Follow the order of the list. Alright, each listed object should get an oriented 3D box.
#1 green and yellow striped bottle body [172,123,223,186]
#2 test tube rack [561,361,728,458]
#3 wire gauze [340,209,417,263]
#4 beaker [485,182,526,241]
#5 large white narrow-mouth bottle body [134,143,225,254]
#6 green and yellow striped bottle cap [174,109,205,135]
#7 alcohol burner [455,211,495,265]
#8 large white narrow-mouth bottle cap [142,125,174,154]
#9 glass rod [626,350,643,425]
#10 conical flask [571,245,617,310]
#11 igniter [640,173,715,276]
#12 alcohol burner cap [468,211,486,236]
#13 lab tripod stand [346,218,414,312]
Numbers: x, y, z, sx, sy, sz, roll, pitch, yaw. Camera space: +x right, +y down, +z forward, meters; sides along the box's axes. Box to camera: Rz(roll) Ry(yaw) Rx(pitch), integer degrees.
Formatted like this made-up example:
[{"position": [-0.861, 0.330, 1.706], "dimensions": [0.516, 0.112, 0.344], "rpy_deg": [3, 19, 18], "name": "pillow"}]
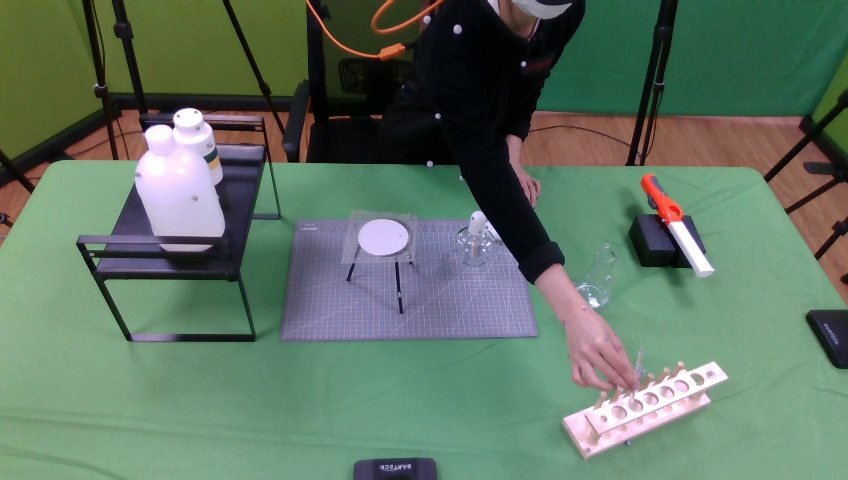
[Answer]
[{"position": [-0.373, -0.148, 0.994], "dimensions": [0.063, 0.120, 0.063], "rpy_deg": [2, 46, -2], "name": "green and yellow striped bottle body"}, {"position": [0.341, 0.248, 0.940], "dimensions": [0.243, 0.085, 0.066], "rpy_deg": [-15, 49, -18], "name": "test tube rack"}, {"position": [-0.074, -0.006, 1.023], "dimensions": [0.121, 0.011, 0.124], "rpy_deg": [3, 46, 0], "name": "wire gauze"}, {"position": [0.159, -0.055, 1.205], "dimensions": [0.074, 0.101, 0.084], "rpy_deg": [23, 49, 17], "name": "beaker"}, {"position": [-0.357, -0.075, 0.875], "dimensions": [0.102, 0.195, 0.101], "rpy_deg": [2, 47, -1], "name": "large white narrow-mouth bottle body"}, {"position": [-0.369, -0.186, 0.954], "dimensions": [0.045, 0.020, 0.045], "rpy_deg": [3, 49, -3], "name": "green and yellow striped bottle cap"}, {"position": [0.097, -0.010, 1.147], "dimensions": [0.078, 0.120, 0.077], "rpy_deg": [1, 47, 0], "name": "alcohol burner"}, {"position": [-0.355, -0.134, 0.810], "dimensions": [0.038, 0.024, 0.037], "rpy_deg": [2, 47, -2], "name": "large white narrow-mouth bottle cap"}, {"position": [0.295, 0.212, 0.851], "dimensions": [0.008, 0.201, 0.008], "rpy_deg": [-6, 46, 7], "name": "glass rod"}, {"position": [0.313, 0.064, 1.089], "dimensions": [0.075, 0.122, 0.075], "rpy_deg": [2, 46, -2], "name": "conical flask"}, {"position": [0.495, -0.039, 1.204], "dimensions": [0.057, 0.025, 0.274], "rpy_deg": [-2, 47, -12], "name": "igniter"}, {"position": [0.099, -0.033, 1.119], "dimensions": [0.034, 0.048, 0.033], "rpy_deg": [0, 53, 0], "name": "alcohol burner cap"}, {"position": [-0.069, 0.037, 1.075], "dimensions": [0.148, 0.132, 0.147], "rpy_deg": [1, 47, -1], "name": "lab tripod stand"}]
